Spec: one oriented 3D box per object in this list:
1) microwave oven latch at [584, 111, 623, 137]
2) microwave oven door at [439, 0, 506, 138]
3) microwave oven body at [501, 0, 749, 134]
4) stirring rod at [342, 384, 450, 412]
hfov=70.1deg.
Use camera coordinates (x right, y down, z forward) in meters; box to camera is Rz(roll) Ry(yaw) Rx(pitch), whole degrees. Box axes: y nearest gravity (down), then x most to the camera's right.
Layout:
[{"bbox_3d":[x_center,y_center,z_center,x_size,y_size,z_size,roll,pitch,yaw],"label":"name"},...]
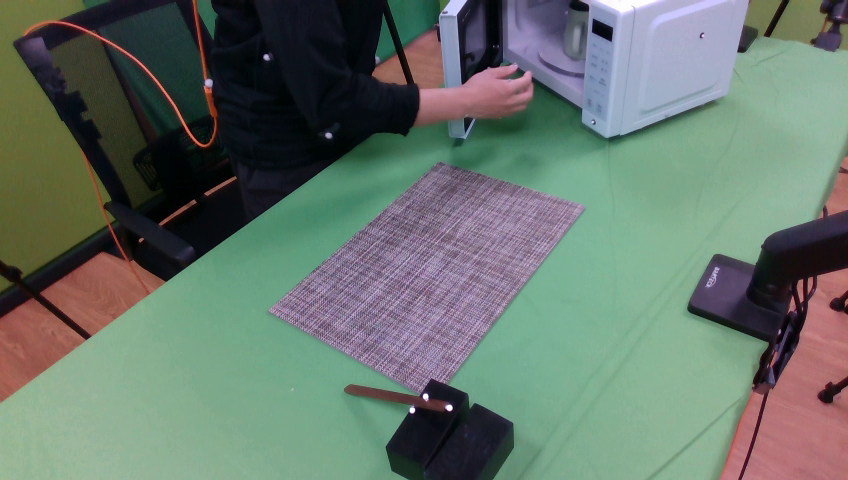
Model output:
[{"bbox_3d":[0.337,-0.222,1.142,0.030,0.029,0.078,-21,42,-14],"label":"microwave oven latch"},{"bbox_3d":[0.108,-0.406,1.231,0.039,0.245,0.355,7,43,18],"label":"microwave oven door"},{"bbox_3d":[0.382,-0.444,1.246,0.327,0.261,0.437,-22,42,-16],"label":"microwave oven body"},{"bbox_3d":[-0.038,0.186,0.714,0.175,0.006,0.014,-3,22,43],"label":"stirring rod"}]
